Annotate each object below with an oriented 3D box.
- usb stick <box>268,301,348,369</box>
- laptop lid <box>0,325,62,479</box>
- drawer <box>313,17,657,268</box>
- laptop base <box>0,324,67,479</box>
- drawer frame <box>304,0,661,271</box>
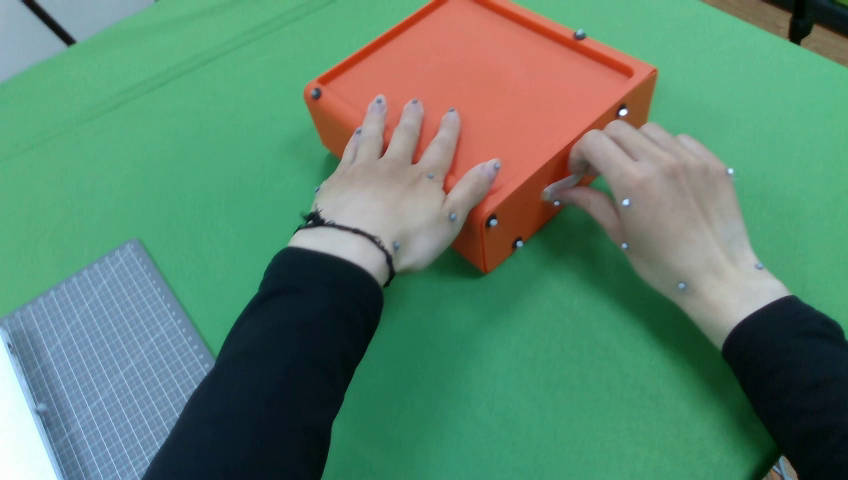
[{"bbox_3d":[-0.082,0.065,0.444,0.059,0.027,0.021,-39,57,-22],"label":"usb stick"},{"bbox_3d":[-0.402,0.226,0.368,0.356,0.013,0.239,-34,59,-15],"label":"laptop lid"},{"bbox_3d":[0.047,-0.107,0.511,0.194,0.074,0.209,-41,58,-18],"label":"drawer"},{"bbox_3d":[-0.402,0.232,0.379,0.354,0.023,0.233,-36,61,-16],"label":"laptop base"},{"bbox_3d":[0.045,-0.108,0.511,0.201,0.083,0.211,-41,58,-19],"label":"drawer frame"}]
